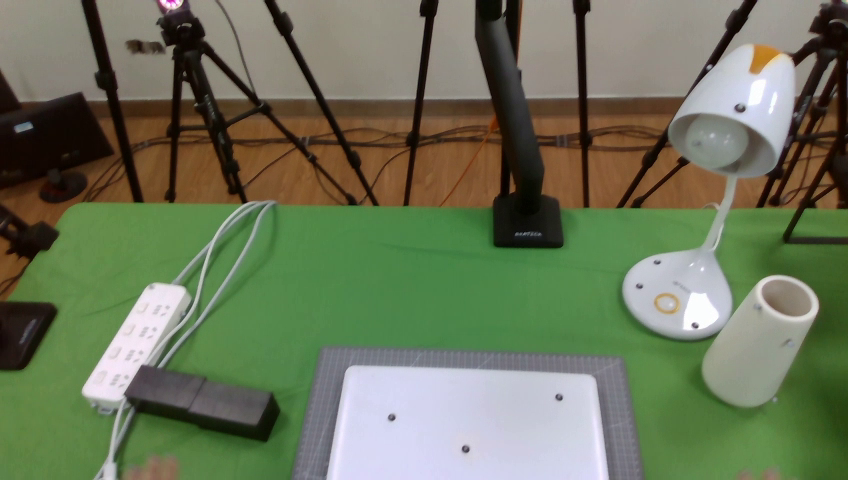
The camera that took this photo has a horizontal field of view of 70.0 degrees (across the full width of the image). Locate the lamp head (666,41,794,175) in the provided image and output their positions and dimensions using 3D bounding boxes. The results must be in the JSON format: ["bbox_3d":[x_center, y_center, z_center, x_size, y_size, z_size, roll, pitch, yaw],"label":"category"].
[{"bbox_3d":[0.333,-0.144,0.640,0.111,0.113,0.122,26,72,24],"label":"lamp head"}]

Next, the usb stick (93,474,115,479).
[{"bbox_3d":[-0.402,0.329,0.762,0.021,0.027,0.058,-11,56,-16],"label":"usb stick"}]

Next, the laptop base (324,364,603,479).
[{"bbox_3d":[0.051,0.276,0.792,0.354,0.023,0.233,1,52,4],"label":"laptop base"}]

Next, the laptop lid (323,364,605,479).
[{"bbox_3d":[0.051,0.270,0.781,0.356,0.013,0.239,2,51,5],"label":"laptop lid"}]

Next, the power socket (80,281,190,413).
[{"bbox_3d":[-0.433,0.153,0.919,0.072,0.033,0.225,8,48,9],"label":"power socket"}]

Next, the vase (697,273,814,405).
[{"bbox_3d":[0.423,0.129,0.780,0.098,0.202,0.097,-3,47,3],"label":"vase"}]

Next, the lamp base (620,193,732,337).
[{"bbox_3d":[0.391,0.023,0.891,0.159,0.182,0.179,29,53,26],"label":"lamp base"}]

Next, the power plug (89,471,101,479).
[{"bbox_3d":[-0.453,0.329,0.772,0.052,0.035,0.072,-12,5,24],"label":"power plug"}]
